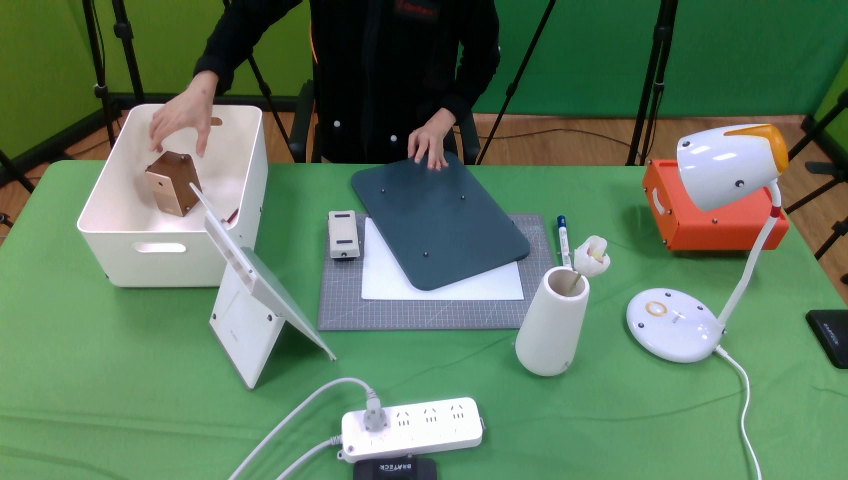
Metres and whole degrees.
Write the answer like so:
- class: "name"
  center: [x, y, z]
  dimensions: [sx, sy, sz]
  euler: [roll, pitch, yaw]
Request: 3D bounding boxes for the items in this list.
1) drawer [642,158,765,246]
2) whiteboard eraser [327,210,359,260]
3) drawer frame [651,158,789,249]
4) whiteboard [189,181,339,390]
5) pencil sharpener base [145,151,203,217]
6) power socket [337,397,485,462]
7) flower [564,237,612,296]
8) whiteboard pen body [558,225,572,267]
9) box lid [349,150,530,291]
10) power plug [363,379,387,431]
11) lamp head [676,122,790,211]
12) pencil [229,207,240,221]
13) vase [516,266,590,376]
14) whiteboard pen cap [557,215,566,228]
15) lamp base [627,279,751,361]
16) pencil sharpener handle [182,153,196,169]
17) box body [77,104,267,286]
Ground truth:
- class: "drawer"
  center: [0.565, -0.076, 1.211]
  dimensions: [0.212, 0.073, 0.193]
  euler: [2, 45, -2]
- class: "whiteboard eraser"
  center: [-0.158, -0.009, 1.177]
  dimensions: [0.055, 0.042, 0.112]
  euler: [-6, 47, -7]
- class: "drawer frame"
  center: [0.571, -0.075, 1.214]
  dimensions: [0.214, 0.083, 0.200]
  euler: [0, 46, -1]
- class: "whiteboard"
  center: [-0.292, 0.096, 0.929]
  dimensions: [0.144, 0.307, 0.216]
  euler: [-37, 57, -10]
- class: "pencil sharpener base"
  center: [-0.490, -0.112, 1.199]
  dimensions: [0.061, 0.107, 0.076]
  euler: [15, 47, 12]
- class: "power socket"
  center: [-0.018, 0.285, 0.915]
  dimensions: [0.227, 0.033, 0.071]
  euler: [-5, 46, -8]
- class: "flower"
  center: [0.207, 0.088, 0.893]
  dimensions: [0.038, 0.363, 0.044]
  euler: [-17, 67, -9]
- class: "whiteboard pen body"
  center: [0.280, 0.010, 1.207]
  dimensions: [0.017, 0.017, 0.140]
  euler: [3, 50, -1]
- class: "box lid"
  center: [0.025, -0.056, 1.260]
  dimensions: [0.263, 0.015, 0.369]
  euler: [-18, 49, -20]
- class: "power plug"
  center: [-0.072, 0.252, 0.910]
  dimensions: [0.035, 0.053, 0.072]
  euler: [3, 45, -1]
- class: "lamp head"
  center: [0.423, -0.104, 0.819]
  dimensions: [0.122, 0.113, 0.112]
  euler: [-13, 33, 40]
- class: "pencil"
  center: [-0.402, -0.008, 1.177]
  dimensions: [0.012, 0.012, 0.193]
  euler: [15, 44, 9]
- class: "vase"
  center: [0.208, 0.132, 0.964]
  dimensions: [0.098, 0.201, 0.097]
  euler: [3, 46, -3]
- class: "whiteboard pen cap"
  center: [0.284, -0.034, 1.246]
  dimensions: [0.018, 0.018, 0.033]
  euler: [4, 52, -1]
- class: "lamp base"
  center: [0.459, 0.100, 1.027]
  dimensions: [0.178, 0.181, 0.160]
  euler: [27, 51, 17]
- class: "pencil sharpener handle"
  center: [-0.476, -0.155, 1.225]
  dimensions: [0.036, 0.068, 0.030]
  euler: [23, 48, 3]
- class: "box body"
  center: [-0.446, -0.088, 1.150]
  dimensions: [0.254, 0.161, 0.361]
  euler: [-1, 46, -5]
